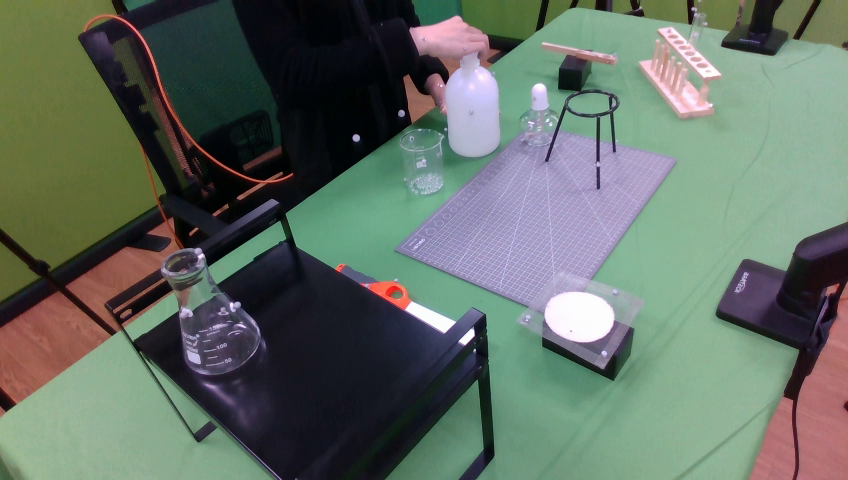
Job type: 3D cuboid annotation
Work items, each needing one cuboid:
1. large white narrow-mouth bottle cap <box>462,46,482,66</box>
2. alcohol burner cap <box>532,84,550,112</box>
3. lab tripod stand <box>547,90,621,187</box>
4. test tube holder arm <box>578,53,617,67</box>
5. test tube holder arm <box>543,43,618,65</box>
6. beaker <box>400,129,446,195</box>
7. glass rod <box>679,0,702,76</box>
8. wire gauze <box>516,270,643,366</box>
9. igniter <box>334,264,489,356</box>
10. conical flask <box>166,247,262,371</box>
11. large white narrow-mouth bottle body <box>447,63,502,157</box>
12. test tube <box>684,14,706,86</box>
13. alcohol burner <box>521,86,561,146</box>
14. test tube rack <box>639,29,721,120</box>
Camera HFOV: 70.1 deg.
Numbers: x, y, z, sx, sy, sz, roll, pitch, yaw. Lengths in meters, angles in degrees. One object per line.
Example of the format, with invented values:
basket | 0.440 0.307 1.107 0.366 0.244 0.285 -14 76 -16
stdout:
large white narrow-mouth bottle cap | 0.085 -0.330 1.084 0.038 0.024 0.037 -4 40 4
alcohol burner cap | 0.218 -0.269 1.133 0.034 0.048 0.033 -9 36 7
lab tripod stand | 0.289 -0.184 1.062 0.148 0.132 0.147 -6 41 6
test tube holder arm | 0.376 -0.393 1.314 0.087 0.015 0.010 25 51 32
test tube holder arm | 0.344 -0.413 1.340 0.177 0.015 0.013 25 50 31
beaker | 0.004 -0.140 1.087 0.084 0.101 0.073 -20 42 -14
glass rod | 0.543 -0.417 1.233 0.008 0.200 0.008 1 40 0
wire gauze | 0.200 0.093 0.777 0.124 0.011 0.122 23 49 32
igniter | -0.030 0.095 0.871 0.274 0.025 0.057 22 59 31
conical flask | -0.208 0.064 0.584 0.075 0.122 0.075 -5 40 4
large white narrow-mouth bottle body | 0.094 -0.261 1.142 0.102 0.195 0.101 -4 40 4
test tube | 0.540 -0.378 1.215 0.017 0.151 0.017 -2 44 3
alcohol burner | 0.223 -0.241 1.155 0.078 0.119 0.077 -5 43 5
test tube rack | 0.527 -0.351 1.262 0.067 0.085 0.241 -8 40 1
